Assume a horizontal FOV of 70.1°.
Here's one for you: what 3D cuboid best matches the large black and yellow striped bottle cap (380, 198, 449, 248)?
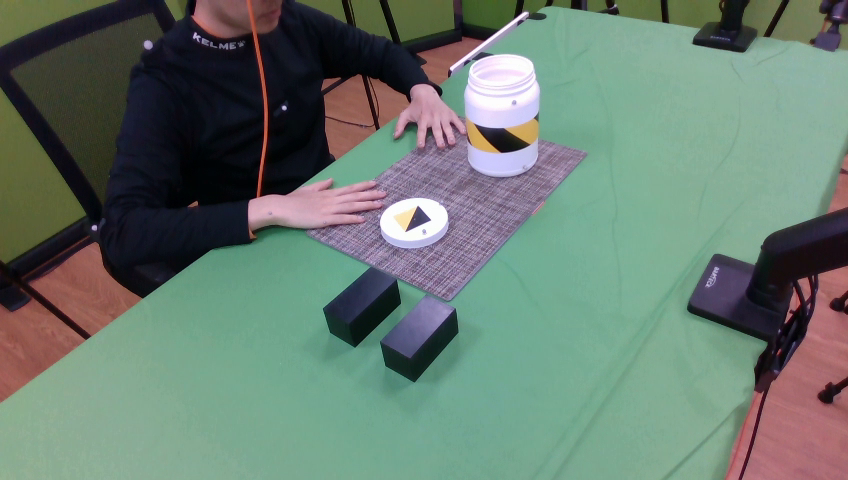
[{"bbox_3d":[-0.016,-0.030,1.004,0.115,0.019,0.114,-5,40,4],"label":"large black and yellow striped bottle cap"}]

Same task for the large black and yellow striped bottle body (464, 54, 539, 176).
[{"bbox_3d":[0.139,-0.221,1.075,0.131,0.185,0.130,-4,41,4],"label":"large black and yellow striped bottle body"}]
